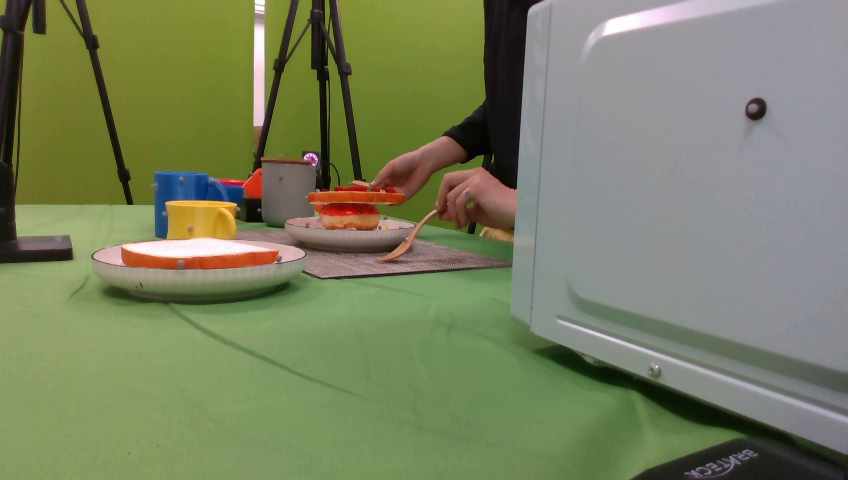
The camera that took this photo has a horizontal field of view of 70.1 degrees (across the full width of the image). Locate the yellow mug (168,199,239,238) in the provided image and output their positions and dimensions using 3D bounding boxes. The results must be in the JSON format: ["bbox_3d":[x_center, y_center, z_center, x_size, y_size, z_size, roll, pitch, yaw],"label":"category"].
[{"bbox_3d":[-0.319,-0.023,0.904,0.130,0.064,0.100,9,11,36],"label":"yellow mug"}]

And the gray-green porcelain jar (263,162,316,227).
[{"bbox_3d":[-0.271,-0.092,1.217,0.106,0.126,0.106,2,7,0],"label":"gray-green porcelain jar"}]

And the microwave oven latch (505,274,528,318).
[{"bbox_3d":[0.100,0.041,0.471,0.079,0.029,0.030,-1,8,-28],"label":"microwave oven latch"}]

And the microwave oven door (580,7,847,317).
[{"bbox_3d":[0.295,-0.067,0.570,0.358,0.243,0.039,-3,9,-31],"label":"microwave oven door"}]

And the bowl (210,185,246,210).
[{"bbox_3d":[-0.422,-0.067,1.167,0.151,0.077,0.151,2,7,0],"label":"bowl"}]

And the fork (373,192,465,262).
[{"bbox_3d":[-0.001,-0.023,0.869,0.028,0.018,0.208,18,43,33],"label":"fork"}]

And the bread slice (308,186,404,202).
[{"bbox_3d":[-0.114,-0.071,0.952,0.134,0.018,0.107,-1,1,21],"label":"bread slice"}]

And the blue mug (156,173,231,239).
[{"bbox_3d":[-0.381,-0.057,1.004,0.117,0.106,0.082,0,8,-12],"label":"blue mug"}]

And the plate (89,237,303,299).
[{"bbox_3d":[-0.233,0.029,0.637,0.208,0.039,0.207,2,7,0],"label":"plate"}]

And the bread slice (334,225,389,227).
[{"bbox_3d":[-0.103,-0.010,0.961,0.131,0.019,0.105,3,9,25],"label":"bread slice"}]

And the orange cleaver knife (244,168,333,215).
[{"bbox_3d":[-0.300,-0.089,1.351,0.212,0.077,0.012,28,-9,-34],"label":"orange cleaver knife"}]

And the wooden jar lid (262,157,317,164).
[{"bbox_3d":[-0.269,-0.154,1.208,0.108,0.020,0.108,3,5,0],"label":"wooden jar lid"}]

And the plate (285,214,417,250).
[{"bbox_3d":[-0.116,-0.014,0.964,0.209,0.038,0.209,2,8,0],"label":"plate"}]

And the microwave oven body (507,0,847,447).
[{"bbox_3d":[0.331,-0.042,0.425,0.444,0.260,0.324,-2,8,-31],"label":"microwave oven body"}]

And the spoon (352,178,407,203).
[{"bbox_3d":[-0.093,-0.103,1.197,0.042,0.022,0.192,-37,36,-20],"label":"spoon"}]
